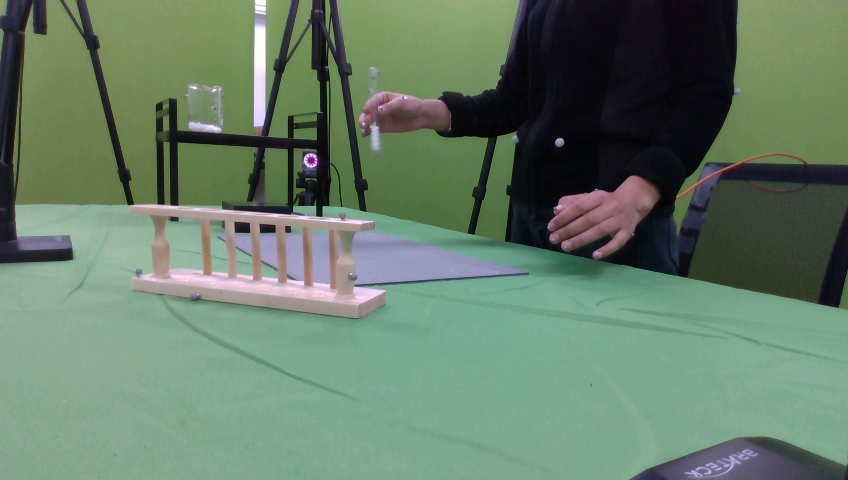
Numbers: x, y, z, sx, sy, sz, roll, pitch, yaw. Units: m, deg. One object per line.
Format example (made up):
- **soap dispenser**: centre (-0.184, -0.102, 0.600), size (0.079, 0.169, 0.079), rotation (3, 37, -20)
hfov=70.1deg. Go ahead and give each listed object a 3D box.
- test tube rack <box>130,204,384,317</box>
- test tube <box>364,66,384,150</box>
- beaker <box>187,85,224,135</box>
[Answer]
- **test tube rack**: centre (-0.162, 0.013, 0.589), size (0.242, 0.085, 0.067), rotation (4, 8, 17)
- **test tube**: centre (-0.088, -0.232, 1.062), size (0.017, 0.150, 0.017), rotation (-9, -6, -1)
- **beaker**: centre (-0.466, -0.276, 1.296), size (0.074, 0.100, 0.083), rotation (-3, 10, -35)
